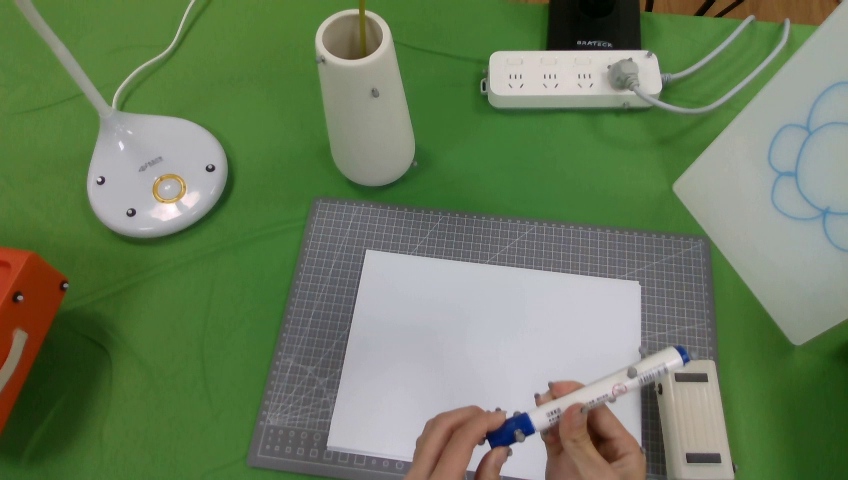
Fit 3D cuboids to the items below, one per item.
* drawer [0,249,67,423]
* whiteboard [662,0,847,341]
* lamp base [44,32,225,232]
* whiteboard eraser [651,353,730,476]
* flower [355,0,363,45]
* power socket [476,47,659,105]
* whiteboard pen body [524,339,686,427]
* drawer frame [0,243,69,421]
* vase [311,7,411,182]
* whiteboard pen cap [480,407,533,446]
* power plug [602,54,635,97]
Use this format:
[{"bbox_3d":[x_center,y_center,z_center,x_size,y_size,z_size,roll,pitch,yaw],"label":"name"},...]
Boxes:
[{"bbox_3d":[-0.476,0.091,0.552,0.211,0.074,0.193,9,66,5],"label":"drawer"},{"bbox_3d":[0.425,-0.079,0.575,0.144,0.307,0.215,-15,63,-27],"label":"whiteboard"},{"bbox_3d":[-0.326,-0.122,0.644,0.178,0.182,0.160,37,70,20],"label":"lamp base"},{"bbox_3d":[0.248,0.163,0.572,0.055,0.042,0.112,1,65,0],"label":"whiteboard eraser"},{"bbox_3d":[-0.060,-0.198,0.574,0.038,0.365,0.043,-5,46,-9],"label":"flower"},{"bbox_3d":[0.179,-0.205,0.756,0.227,0.033,0.071,1,65,1],"label":"power socket"},{"bbox_3d":[0.110,0.101,0.407,0.141,0.017,0.017,-24,66,-2],"label":"whiteboard pen body"},{"bbox_3d":[-0.482,0.093,0.554,0.213,0.083,0.200,9,66,3],"label":"drawer frame"},{"bbox_3d":[-0.067,-0.146,0.641,0.098,0.201,0.097,-1,64,2],"label":"vase"},{"bbox_3d":[0.055,0.123,0.404,0.033,0.018,0.018,-24,66,-4],"label":"whiteboard pen cap"},{"bbox_3d":[0.229,-0.189,0.722,0.035,0.053,0.072,10,67,7],"label":"power plug"}]
